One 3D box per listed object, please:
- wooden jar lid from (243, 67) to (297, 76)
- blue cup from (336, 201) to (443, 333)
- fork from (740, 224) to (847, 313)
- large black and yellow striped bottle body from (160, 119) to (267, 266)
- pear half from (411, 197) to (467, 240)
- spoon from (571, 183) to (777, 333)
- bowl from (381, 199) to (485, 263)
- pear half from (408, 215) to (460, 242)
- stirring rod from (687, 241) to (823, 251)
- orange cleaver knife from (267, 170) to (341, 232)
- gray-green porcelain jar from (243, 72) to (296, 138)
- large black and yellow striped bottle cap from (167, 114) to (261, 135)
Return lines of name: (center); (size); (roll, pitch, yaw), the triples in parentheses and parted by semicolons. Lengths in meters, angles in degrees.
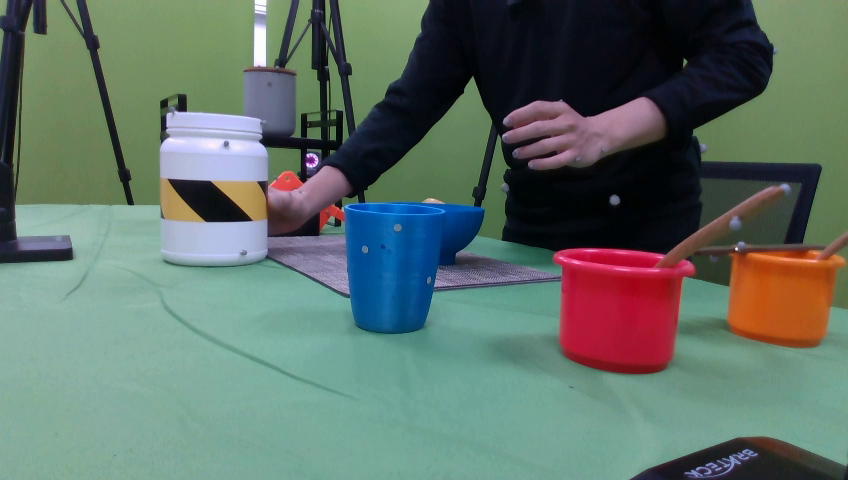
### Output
wooden jar lid: (-0.319, -0.342, 1.254); (0.108, 0.020, 0.108); (3, 8, 0)
blue cup: (-0.029, 0.022, 0.507); (0.093, 0.100, 0.092); (3, 9, 0)
fork: (0.323, 0.013, 0.485); (0.028, 0.018, 0.207); (8, -37, -6)
large black and yellow striped bottle body: (-0.272, -0.066, 0.789); (0.131, 0.184, 0.130); (2, 7, 0)
pear half: (0.030, -0.023, 1.076); (0.110, 0.056, 0.076); (31, -36, -14)
spoon: (0.161, 0.020, 0.413); (0.042, 0.021, 0.193); (1, -36, -24)
bowl: (0.008, -0.012, 0.842); (0.151, 0.077, 0.151); (2, 8, 0)
pear half: (0.011, -0.019, 0.848); (0.070, 0.031, 0.088); (5, 11, 33)
stirring rod: (0.290, 0.005, 0.525); (0.177, 0.006, 0.014); (-1, 5, -26)
orange cleaver knife: (-0.201, -0.056, 1.136); (0.212, 0.077, 0.012); (31, -4, -31)
gray-green porcelain jar: (-0.322, -0.279, 1.263); (0.106, 0.126, 0.106); (3, 8, 0)
large black and yellow striped bottle cap: (-0.269, -0.148, 0.779); (0.115, 0.019, 0.115); (4, 8, 0)
